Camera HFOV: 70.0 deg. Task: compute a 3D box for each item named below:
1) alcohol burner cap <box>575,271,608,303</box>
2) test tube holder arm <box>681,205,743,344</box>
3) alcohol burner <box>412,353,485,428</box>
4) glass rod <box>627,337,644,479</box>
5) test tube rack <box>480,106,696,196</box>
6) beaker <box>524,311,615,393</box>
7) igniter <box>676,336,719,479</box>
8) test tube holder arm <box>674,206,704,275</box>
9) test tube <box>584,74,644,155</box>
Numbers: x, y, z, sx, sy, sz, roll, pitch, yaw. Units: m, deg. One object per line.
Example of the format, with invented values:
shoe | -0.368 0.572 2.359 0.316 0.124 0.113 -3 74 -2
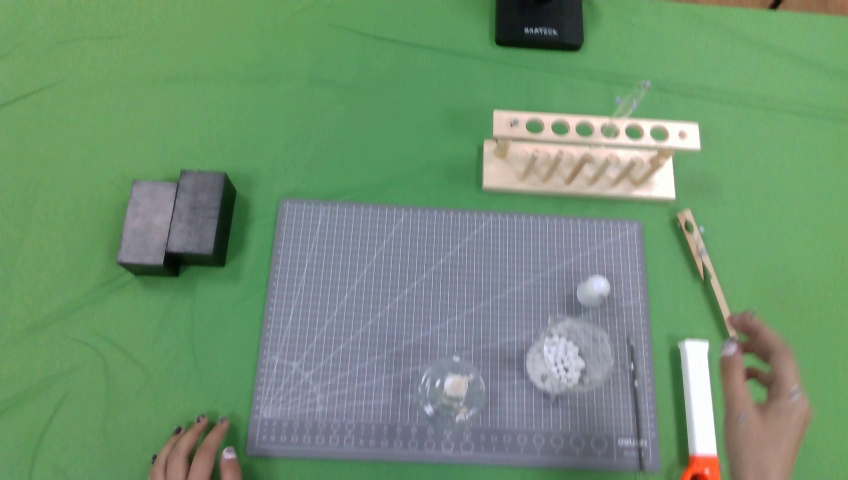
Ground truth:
alcohol burner cap | 0.198 0.053 0.707 0.034 0.048 0.033 1 72 -3
test tube holder arm | 0.347 0.040 0.735 0.013 0.015 0.177 -25 72 24
alcohol burner | 0.027 0.153 0.626 0.078 0.120 0.077 1 69 -3
glass rod | 0.237 0.207 0.677 0.008 0.008 0.198 3 71 -3
test tube rack | 0.195 -0.106 0.739 0.242 0.085 0.066 3 72 -3
beaker | 0.149 0.123 0.651 0.074 0.101 0.083 -29 75 -12
igniter | 0.303 0.243 0.663 0.057 0.025 0.275 7 72 -12
test tube holder arm | 0.330 0.000 0.749 0.010 0.015 0.087 -23 73 24
test tube | 0.215 -0.140 0.699 0.017 0.151 0.017 2 68 -5
